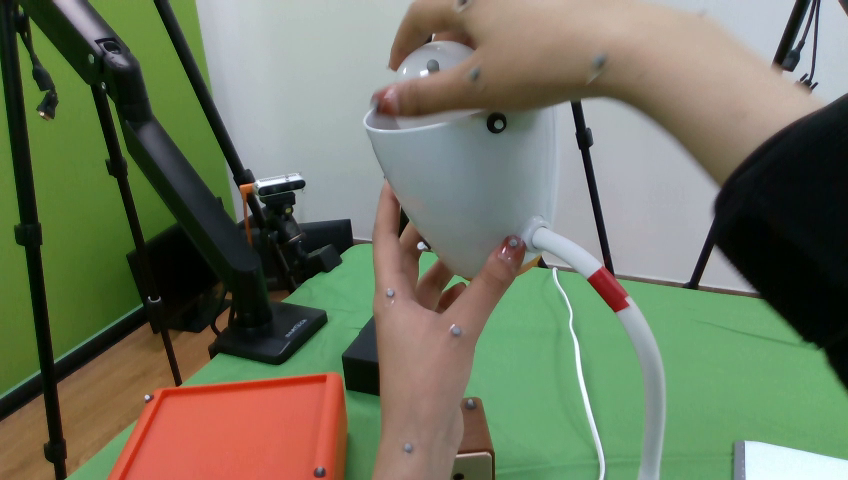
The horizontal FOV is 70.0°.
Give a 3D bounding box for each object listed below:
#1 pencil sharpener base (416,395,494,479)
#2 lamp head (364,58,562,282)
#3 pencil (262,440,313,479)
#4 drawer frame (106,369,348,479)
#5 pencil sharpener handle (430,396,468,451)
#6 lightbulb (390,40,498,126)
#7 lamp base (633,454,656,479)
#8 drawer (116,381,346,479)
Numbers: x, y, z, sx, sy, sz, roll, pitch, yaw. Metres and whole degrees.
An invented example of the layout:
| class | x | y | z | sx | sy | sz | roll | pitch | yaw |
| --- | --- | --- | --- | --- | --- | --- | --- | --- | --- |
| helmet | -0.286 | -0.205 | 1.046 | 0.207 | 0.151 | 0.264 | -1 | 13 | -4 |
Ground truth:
| class | x | y | z | sx | sy | sz | roll | pitch | yaw |
| --- | --- | --- | --- | --- | --- | --- | --- | --- | --- |
| pencil sharpener base | 0.027 | 0.202 | 0.543 | 0.061 | 0.108 | 0.076 | -5 | 25 | -2 |
| lamp head | 0.036 | -0.036 | 0.365 | 0.112 | 0.124 | 0.111 | -18 | 21 | 7 |
| pencil | -0.173 | 0.241 | 0.527 | 0.012 | 0.012 | 0.194 | 21 | 47 | 42 |
| drawer frame | -0.178 | 0.222 | 0.556 | 0.202 | 0.083 | 0.212 | -6 | 24 | -3 |
| pencil sharpener handle | 0.022 | 0.170 | 0.583 | 0.036 | 0.068 | 0.030 | 0 | 25 | -4 |
| lightbulb | 0.019 | -0.061 | 0.353 | 0.059 | 0.108 | 0.059 | -17 | 30 | 11 |
| lamp base | 0.142 | 0.237 | 0.365 | 0.161 | 0.181 | 0.177 | -7 | 21 | -6 |
| drawer | -0.175 | 0.224 | 0.554 | 0.194 | 0.074 | 0.210 | -5 | 24 | -2 |
